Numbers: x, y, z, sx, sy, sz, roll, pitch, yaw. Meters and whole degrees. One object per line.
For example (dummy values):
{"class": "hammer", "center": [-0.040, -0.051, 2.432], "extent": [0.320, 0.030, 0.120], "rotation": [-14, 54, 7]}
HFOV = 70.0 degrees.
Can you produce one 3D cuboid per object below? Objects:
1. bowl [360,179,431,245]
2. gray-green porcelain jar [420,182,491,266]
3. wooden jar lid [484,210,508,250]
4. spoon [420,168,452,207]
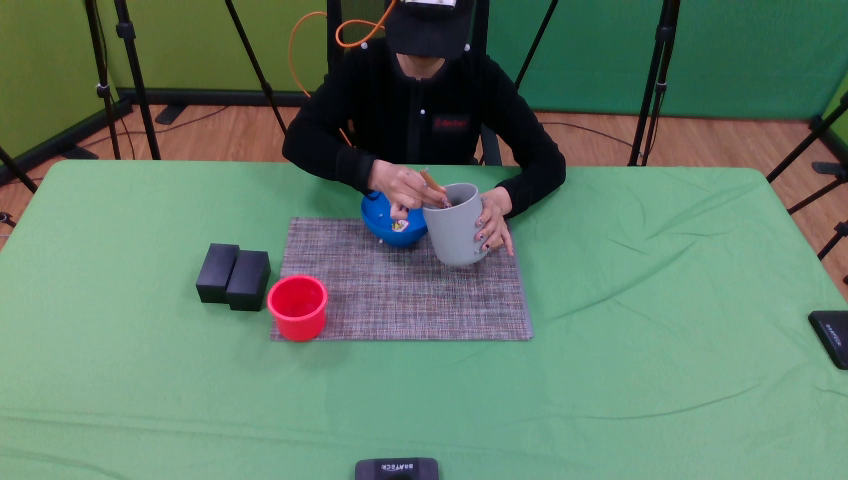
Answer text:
{"class": "bowl", "center": [-0.049, -0.042, 1.190], "extent": [0.151, 0.077, 0.150], "rotation": [2, 46, -2]}
{"class": "gray-green porcelain jar", "center": [0.060, -0.025, 1.087], "extent": [0.106, 0.127, 0.105], "rotation": [-14, 28, 8]}
{"class": "wooden jar lid", "center": [0.115, -0.018, 1.220], "extent": [0.108, 0.021, 0.107], "rotation": [3, 47, -3]}
{"class": "spoon", "center": [0.042, -0.060, 1.066], "extent": [0.041, 0.195, 0.021], "rotation": [-7, 46, 34]}
